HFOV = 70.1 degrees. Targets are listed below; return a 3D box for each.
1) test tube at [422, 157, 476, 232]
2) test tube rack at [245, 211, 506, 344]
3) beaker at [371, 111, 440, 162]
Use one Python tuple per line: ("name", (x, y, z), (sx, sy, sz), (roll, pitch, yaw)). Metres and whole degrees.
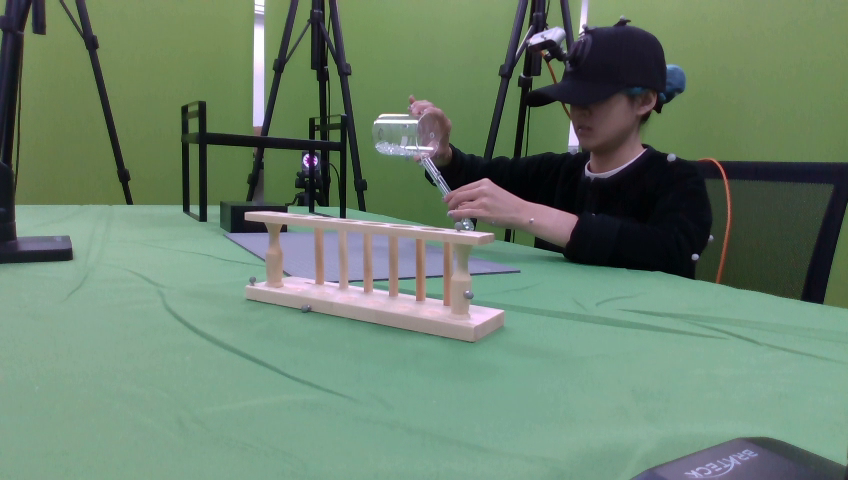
("test tube", (0.041, -0.075, 0.997), (0.017, 0.150, 0.017), (-31, -14, -9))
("test tube rack", (-0.049, 0.025, 0.547), (0.241, 0.085, 0.067), (7, 8, 28))
("beaker", (-0.033, -0.177, 1.036), (0.100, 0.084, 0.074), (7, 5, 32))
